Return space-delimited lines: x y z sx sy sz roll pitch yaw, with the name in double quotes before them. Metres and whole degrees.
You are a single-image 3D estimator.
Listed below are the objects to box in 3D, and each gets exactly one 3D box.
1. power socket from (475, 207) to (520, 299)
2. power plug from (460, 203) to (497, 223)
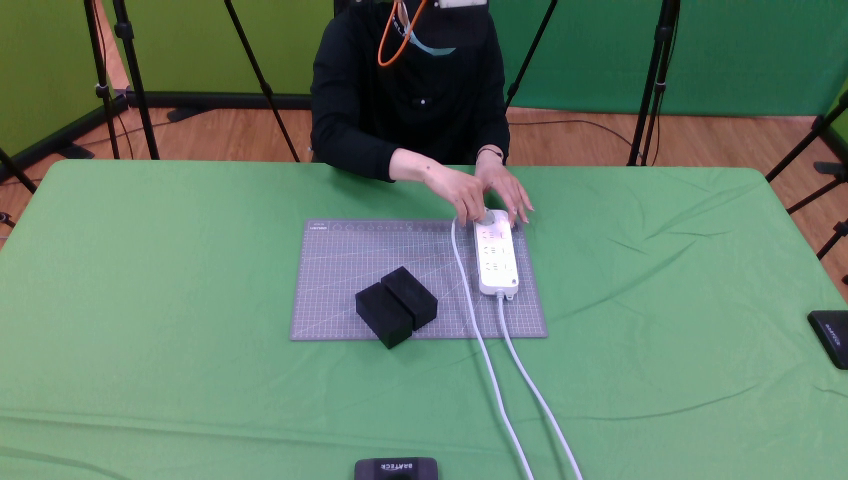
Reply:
"power socket" 0.140 0.017 1.174 0.072 0.033 0.225 2 47 -1
"power plug" 0.110 -0.052 1.211 0.072 0.053 0.035 9 47 9
